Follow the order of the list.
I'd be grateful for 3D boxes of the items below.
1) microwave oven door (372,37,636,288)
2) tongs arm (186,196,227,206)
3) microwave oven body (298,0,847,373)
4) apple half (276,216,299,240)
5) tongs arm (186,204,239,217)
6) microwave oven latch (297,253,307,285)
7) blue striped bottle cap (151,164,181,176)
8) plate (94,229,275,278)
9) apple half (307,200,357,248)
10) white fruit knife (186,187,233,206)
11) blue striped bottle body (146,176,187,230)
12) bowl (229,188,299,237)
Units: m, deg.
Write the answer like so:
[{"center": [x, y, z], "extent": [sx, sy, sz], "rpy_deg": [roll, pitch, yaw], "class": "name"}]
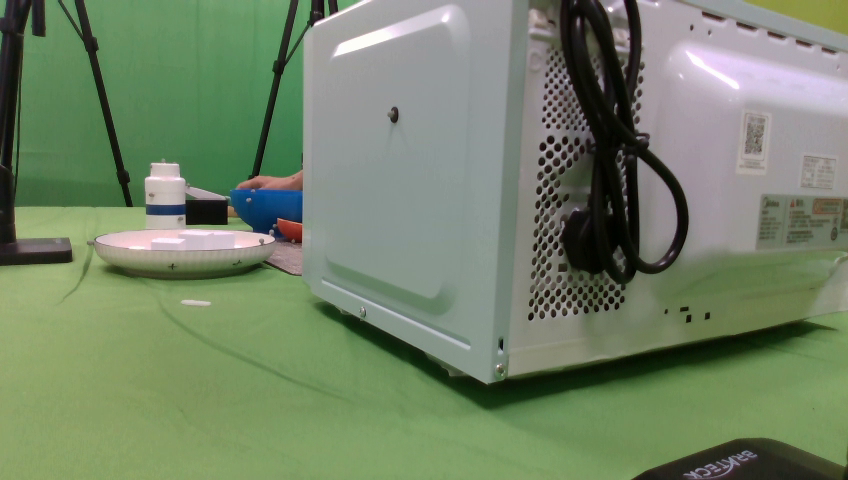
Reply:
[{"center": [0.110, -0.080, 0.686], "extent": [0.358, 0.243, 0.039], "rpy_deg": [-2, 9, -33], "class": "microwave oven door"}, {"center": [-0.404, -0.081, 1.479], "extent": [0.385, 0.026, 0.050], "rpy_deg": [3, 8, -2], "class": "tongs arm"}, {"center": [0.151, -0.055, 0.542], "extent": [0.444, 0.260, 0.324], "rpy_deg": [-2, 7, -33], "class": "microwave oven body"}, {"center": [-0.202, -0.015, 0.985], "extent": [0.081, 0.033, 0.081], "rpy_deg": [12, -3, 1], "class": "apple half"}, {"center": [-0.396, -0.067, 1.399], "extent": [0.389, 0.028, 0.028], "rpy_deg": [1, 5, -15], "class": "tongs arm"}, {"center": [-0.082, 0.027, 0.582], "extent": [0.079, 0.029, 0.030], "rpy_deg": [-1, 7, -32], "class": "microwave oven latch"}, {"center": [-0.428, -0.116, 1.002], "extent": [0.044, 0.020, 0.044], "rpy_deg": [1, 6, 0], "class": "blue striped bottle cap"}, {"center": [-0.291, 0.016, 0.749], "extent": [0.208, 0.039, 0.207], "rpy_deg": [2, 7, 0], "class": "plate"}, {"center": [-0.135, -0.024, 0.942], "extent": [0.053, 0.074, 0.081], "rpy_deg": [14, 9, 38], "class": "apple half"}, {"center": [-0.413, -0.081, 1.270], "extent": [0.208, 0.027, 0.016], "rpy_deg": [18, 13, -41], "class": "white fruit knife"}, {"center": [-0.430, -0.065, 1.010], "extent": [0.063, 0.120, 0.063], "rpy_deg": [2, 7, 0], "class": "blue striped bottle body"}, {"center": [-0.265, -0.048, 1.066], "extent": [0.151, 0.077, 0.151], "rpy_deg": [3, 8, 0], "class": "bowl"}]
